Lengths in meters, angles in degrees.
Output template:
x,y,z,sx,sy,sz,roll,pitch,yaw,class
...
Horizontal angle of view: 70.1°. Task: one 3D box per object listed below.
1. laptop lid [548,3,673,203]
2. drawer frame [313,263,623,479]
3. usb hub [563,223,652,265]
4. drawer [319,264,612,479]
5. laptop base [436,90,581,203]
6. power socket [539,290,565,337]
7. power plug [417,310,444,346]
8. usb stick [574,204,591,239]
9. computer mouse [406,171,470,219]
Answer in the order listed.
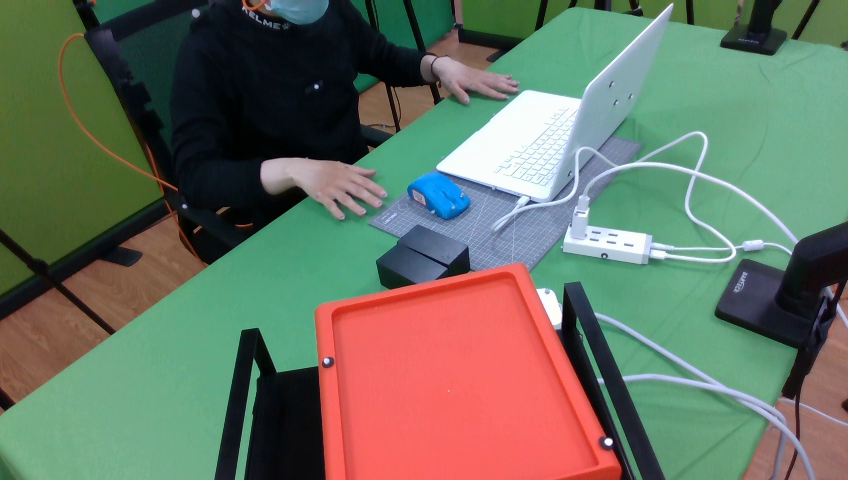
x,y,z,sx,sy,sz,roll,pitch,yaw,class
0.320,-0.235,1.026,0.013,0.242,0.357,31,50,20,laptop lid
0.021,0.130,0.493,0.202,0.083,0.212,-11,41,-6,drawer frame
0.281,0.005,0.925,0.124,0.025,0.049,10,43,19,usb hub
0.020,0.129,0.497,0.195,0.073,0.210,-11,41,-5,drawer
0.214,-0.192,1.172,0.233,0.023,0.355,19,46,32,laptop base
0.081,0.112,0.822,0.227,0.033,0.072,-6,41,0,power socket
0.007,0.122,0.785,0.035,0.053,0.072,0,39,7,power plug
0.240,-0.023,0.914,0.021,0.059,0.027,-3,34,19,usb stick
0.024,-0.082,1.049,0.063,0.041,0.116,-30,50,-27,computer mouse
